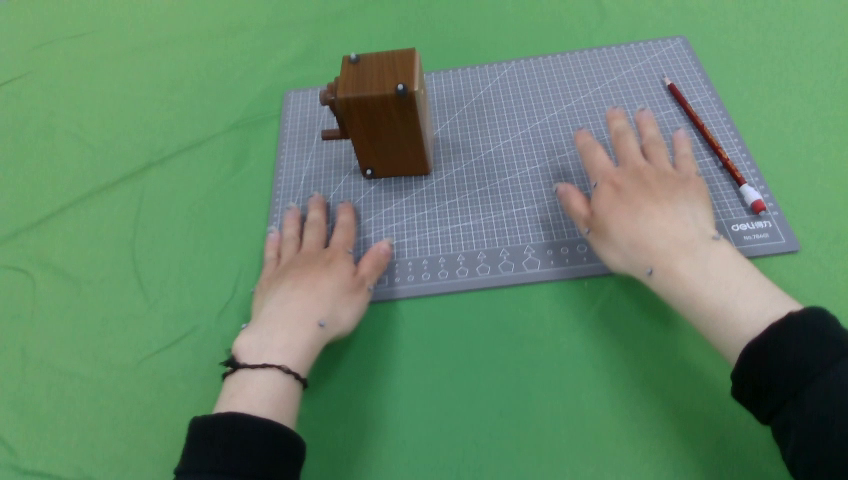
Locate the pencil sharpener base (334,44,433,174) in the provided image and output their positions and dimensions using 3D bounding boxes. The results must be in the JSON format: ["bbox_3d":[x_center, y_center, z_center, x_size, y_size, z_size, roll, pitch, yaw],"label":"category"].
[{"bbox_3d":[-0.035,-0.118,0.563,0.076,0.108,0.061,-4,53,7],"label":"pencil sharpener base"}]

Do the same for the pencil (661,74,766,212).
[{"bbox_3d":[0.264,-0.098,0.565,0.012,0.012,0.192,-13,51,-1],"label":"pencil"}]

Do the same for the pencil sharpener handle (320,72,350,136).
[{"bbox_3d":[-0.087,-0.122,0.559,0.030,0.068,0.035,-4,52,7],"label":"pencil sharpener handle"}]
